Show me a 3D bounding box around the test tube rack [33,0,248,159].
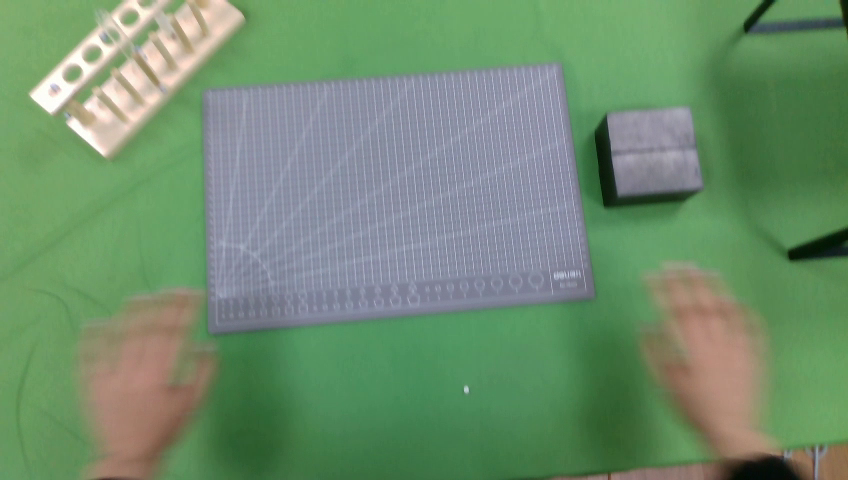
[{"bbox_3d":[-0.327,-0.218,0.719,0.066,0.085,0.242,39,79,7],"label":"test tube rack"}]

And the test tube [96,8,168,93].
[{"bbox_3d":[-0.320,-0.206,0.671,0.017,0.151,0.017,0,75,-1],"label":"test tube"}]

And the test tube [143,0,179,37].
[{"bbox_3d":[-0.311,-0.275,0.682,0.017,0.151,0.017,-1,75,4],"label":"test tube"}]
